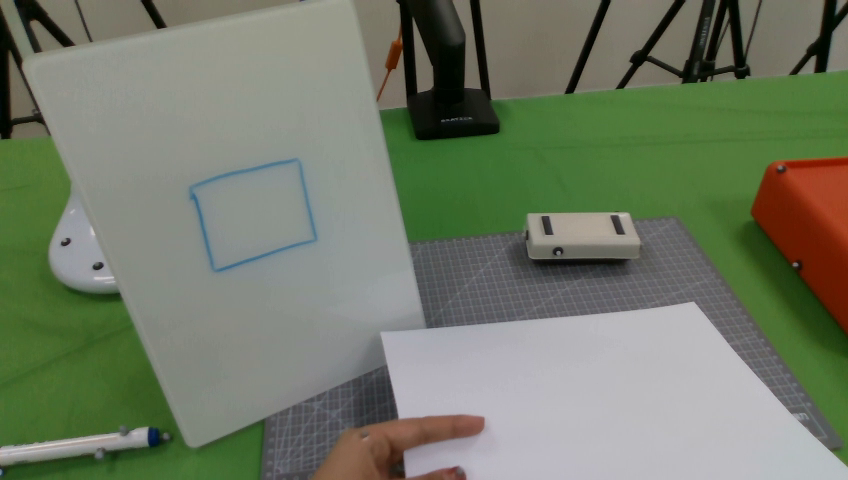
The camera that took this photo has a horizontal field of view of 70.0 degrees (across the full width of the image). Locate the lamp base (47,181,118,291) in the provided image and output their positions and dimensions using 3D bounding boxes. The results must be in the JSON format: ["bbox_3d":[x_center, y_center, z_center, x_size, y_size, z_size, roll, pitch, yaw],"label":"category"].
[{"bbox_3d":[-0.334,-0.065,0.617,0.178,0.182,0.160,21,45,28],"label":"lamp base"}]

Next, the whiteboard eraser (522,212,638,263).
[{"bbox_3d":[0.161,-0.002,0.636,0.113,0.042,0.055,-1,39,0],"label":"whiteboard eraser"}]

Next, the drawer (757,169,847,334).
[{"bbox_3d":[0.472,0.009,0.590,0.194,0.074,0.209,-4,39,-2],"label":"drawer"}]

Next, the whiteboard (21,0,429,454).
[{"bbox_3d":[-0.146,-0.024,0.512,0.217,0.307,0.142,-20,24,-20],"label":"whiteboard"}]

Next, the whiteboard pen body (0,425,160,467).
[{"bbox_3d":[-0.281,0.161,0.469,0.141,0.017,0.017,-5,40,-11],"label":"whiteboard pen body"}]

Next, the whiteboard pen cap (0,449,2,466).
[{"bbox_3d":[-0.339,0.167,0.459,0.033,0.018,0.018,-4,39,-13],"label":"whiteboard pen cap"}]

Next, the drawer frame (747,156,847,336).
[{"bbox_3d":[0.471,0.004,0.594,0.202,0.083,0.211,-5,40,-4],"label":"drawer frame"}]
